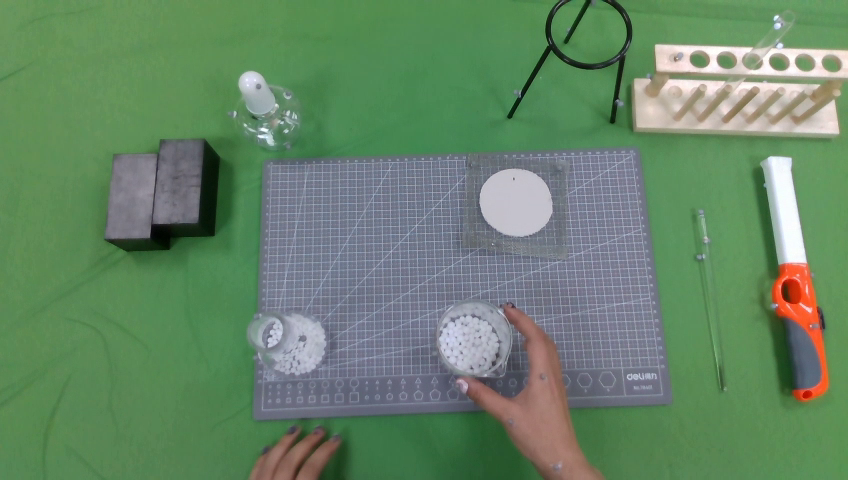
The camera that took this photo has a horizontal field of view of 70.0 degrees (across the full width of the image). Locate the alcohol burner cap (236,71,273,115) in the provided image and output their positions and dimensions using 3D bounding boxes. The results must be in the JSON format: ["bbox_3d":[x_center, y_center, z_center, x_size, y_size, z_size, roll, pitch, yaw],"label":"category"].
[{"bbox_3d":[-0.183,-0.161,0.648,0.034,0.048,0.033,0,69,0],"label":"alcohol burner cap"}]

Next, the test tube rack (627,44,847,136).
[{"bbox_3d":[0.372,-0.172,0.704,0.242,0.085,0.066,2,75,1],"label":"test tube rack"}]

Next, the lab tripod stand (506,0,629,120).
[{"bbox_3d":[0.165,-0.200,0.686,0.148,0.132,0.147,0,77,1],"label":"lab tripod stand"}]

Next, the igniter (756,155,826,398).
[{"bbox_3d":[0.410,0.035,0.680,0.057,0.025,0.275,2,75,-9],"label":"igniter"}]

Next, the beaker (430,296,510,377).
[{"bbox_3d":[0.047,0.105,0.621,0.074,0.101,0.083,-37,78,-9],"label":"beaker"}]

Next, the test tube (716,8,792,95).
[{"bbox_3d":[0.355,-0.200,0.660,0.017,0.151,0.017,-1,75,3],"label":"test tube"}]

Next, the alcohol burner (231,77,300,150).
[{"bbox_3d":[-0.183,-0.149,0.682,0.078,0.119,0.077,0,76,2],"label":"alcohol burner"}]

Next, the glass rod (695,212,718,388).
[{"bbox_3d":[0.318,0.065,0.682,0.008,0.008,0.199,0,78,0],"label":"glass rod"}]

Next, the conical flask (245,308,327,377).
[{"bbox_3d":[-0.144,0.098,0.611,0.075,0.122,0.075,0,75,0],"label":"conical flask"}]

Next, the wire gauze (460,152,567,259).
[{"bbox_3d":[0.106,-0.043,0.707,0.125,0.011,0.121,6,75,-1],"label":"wire gauze"}]
